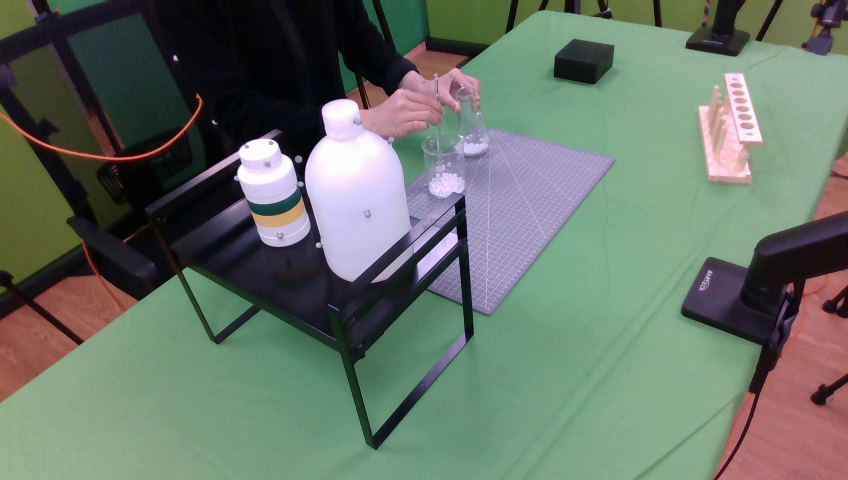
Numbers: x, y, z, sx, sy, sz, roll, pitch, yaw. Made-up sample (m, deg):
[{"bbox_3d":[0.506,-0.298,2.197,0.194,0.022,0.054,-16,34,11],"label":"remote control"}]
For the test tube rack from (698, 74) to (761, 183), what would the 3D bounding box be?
[{"bbox_3d":[0.547,-0.208,1.094,0.066,0.085,0.242,5,42,15],"label":"test tube rack"}]

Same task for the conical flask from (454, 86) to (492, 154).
[{"bbox_3d":[0.086,-0.227,1.136,0.075,0.122,0.075,-7,44,7],"label":"conical flask"}]

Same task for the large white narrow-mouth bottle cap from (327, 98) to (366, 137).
[{"bbox_3d":[-0.075,-0.118,0.582,0.038,0.024,0.037,-3,40,3],"label":"large white narrow-mouth bottle cap"}]

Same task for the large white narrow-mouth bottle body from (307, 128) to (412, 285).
[{"bbox_3d":[-0.070,-0.051,0.638,0.102,0.195,0.101,-3,40,3],"label":"large white narrow-mouth bottle body"}]

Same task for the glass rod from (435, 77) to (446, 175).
[{"bbox_3d":[0.030,-0.189,1.030,0.008,0.200,0.008,-3,46,4],"label":"glass rod"}]

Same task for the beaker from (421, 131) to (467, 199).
[{"bbox_3d":[0.040,-0.130,1.060,0.084,0.100,0.073,-24,44,-20],"label":"beaker"}]

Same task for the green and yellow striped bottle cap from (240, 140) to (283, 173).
[{"bbox_3d":[-0.183,-0.094,0.679,0.045,0.020,0.045,-4,38,4],"label":"green and yellow striped bottle cap"}]

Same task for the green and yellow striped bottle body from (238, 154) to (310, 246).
[{"bbox_3d":[-0.178,-0.056,0.714,0.063,0.120,0.063,-4,40,4],"label":"green and yellow striped bottle body"}]
